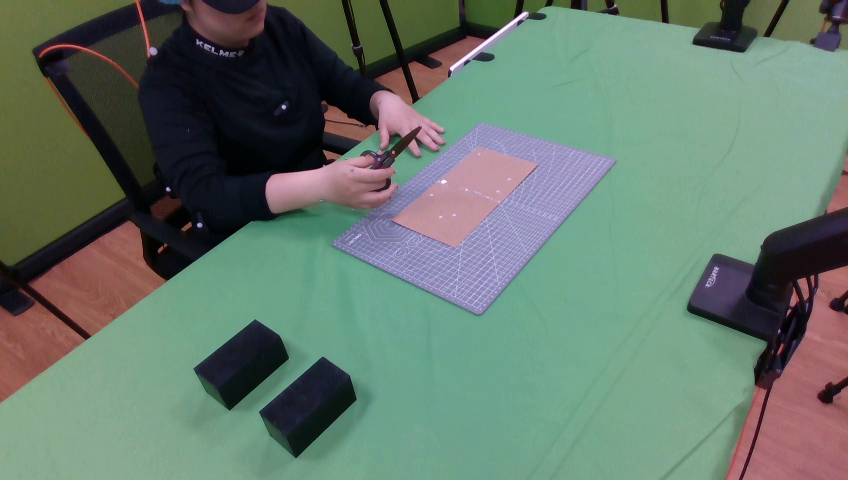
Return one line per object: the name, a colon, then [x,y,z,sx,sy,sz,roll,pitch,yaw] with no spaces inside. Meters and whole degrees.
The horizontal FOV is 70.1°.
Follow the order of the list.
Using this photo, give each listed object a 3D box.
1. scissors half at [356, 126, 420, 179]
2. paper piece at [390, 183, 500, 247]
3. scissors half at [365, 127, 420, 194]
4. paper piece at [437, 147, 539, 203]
scissors half: [-0.061,-0.145,0.982,0.174,0.040,0.013,-24,7,46]
paper piece: [0.037,-0.048,1.027,0.134,0.004,0.136,24,48,30]
scissors half: [-0.050,-0.128,0.981,0.013,0.175,0.040,-27,76,-43]
paper piece: [0.117,-0.122,1.104,0.135,0.009,0.138,26,49,29]
